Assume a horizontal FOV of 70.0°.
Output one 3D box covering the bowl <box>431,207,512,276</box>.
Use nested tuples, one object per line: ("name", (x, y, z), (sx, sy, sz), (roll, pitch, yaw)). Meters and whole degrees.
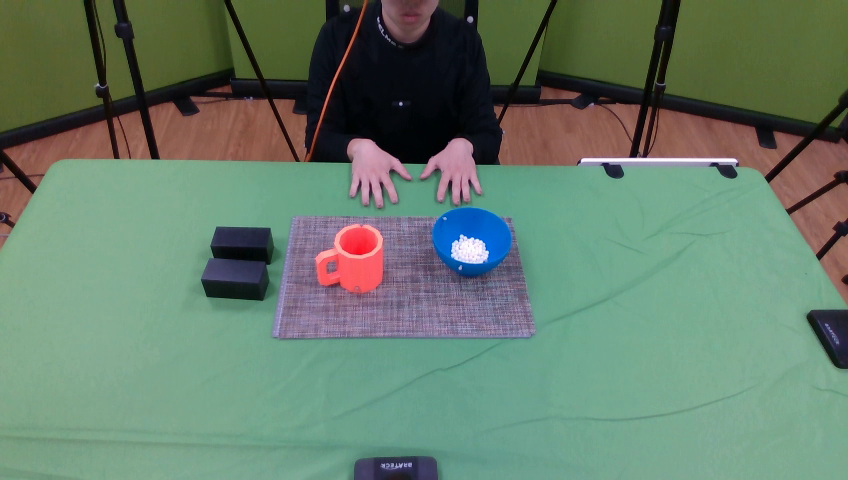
("bowl", (0.086, 0.016, 1.147), (0.151, 0.077, 0.150), (3, 46, -2))

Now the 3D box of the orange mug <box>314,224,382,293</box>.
("orange mug", (-0.135, 0.038, 1.094), (0.126, 0.101, 0.083), (-14, 49, -23))
